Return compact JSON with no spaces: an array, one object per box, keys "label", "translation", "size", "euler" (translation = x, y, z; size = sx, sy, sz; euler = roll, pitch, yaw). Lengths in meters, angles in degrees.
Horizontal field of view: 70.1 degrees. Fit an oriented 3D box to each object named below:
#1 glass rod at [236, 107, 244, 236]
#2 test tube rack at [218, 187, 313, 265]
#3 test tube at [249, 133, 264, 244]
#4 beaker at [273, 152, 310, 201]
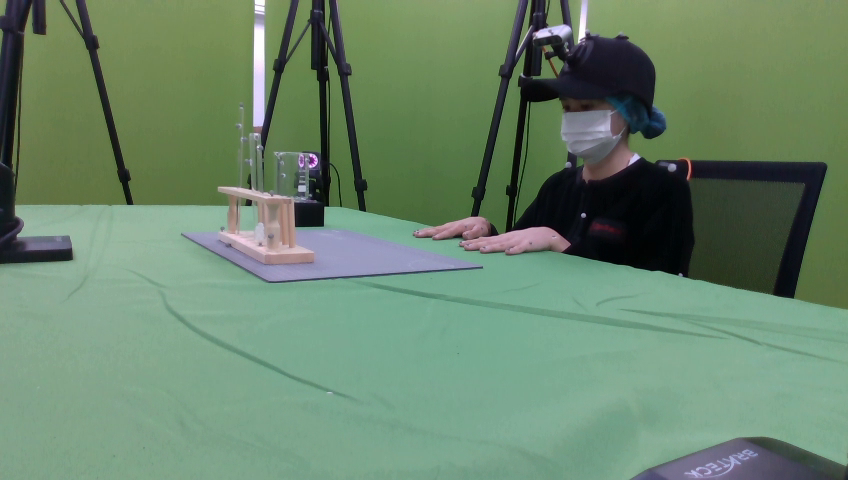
[{"label":"glass rod","translation":[-0.282,-0.102,0.924],"size":[0.008,0.199,0.008],"euler":[2,2,0]},{"label":"test tube rack","translation":[-0.235,-0.027,0.872],"size":[0.067,0.085,0.241],"euler":[-2,8,-32]},{"label":"test tube","translation":[-0.228,-0.070,0.824],"size":[0.017,0.150,0.017],"euler":[-1,4,0]},{"label":"beaker","translation":[-0.277,-0.131,1.249],"size":[0.073,0.100,0.084],"euler":[6,8,26]}]
